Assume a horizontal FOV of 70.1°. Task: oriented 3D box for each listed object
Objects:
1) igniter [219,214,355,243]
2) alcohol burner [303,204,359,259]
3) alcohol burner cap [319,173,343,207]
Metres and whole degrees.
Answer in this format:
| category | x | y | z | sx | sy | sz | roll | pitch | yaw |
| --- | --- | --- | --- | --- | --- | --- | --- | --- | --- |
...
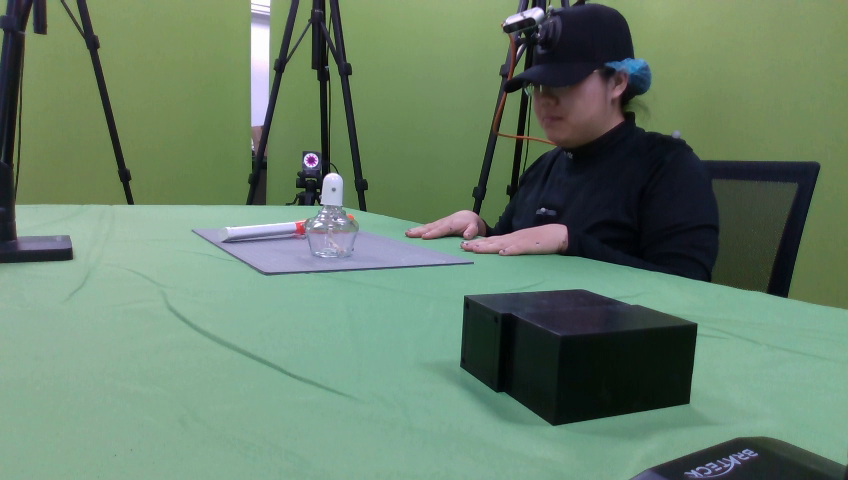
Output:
| category | x | y | z | sx | sy | sz | roll | pitch | yaw |
| --- | --- | --- | --- | --- | --- | --- | --- | --- | --- |
| igniter | -0.219 | -0.021 | 1.033 | 0.057 | 0.025 | 0.278 | -20 | -7 | 39 |
| alcohol burner | -0.130 | -0.034 | 0.850 | 0.078 | 0.119 | 0.078 | 2 | 5 | 0 |
| alcohol burner cap | -0.129 | -0.070 | 0.845 | 0.034 | 0.048 | 0.034 | 4 | 4 | 0 |
